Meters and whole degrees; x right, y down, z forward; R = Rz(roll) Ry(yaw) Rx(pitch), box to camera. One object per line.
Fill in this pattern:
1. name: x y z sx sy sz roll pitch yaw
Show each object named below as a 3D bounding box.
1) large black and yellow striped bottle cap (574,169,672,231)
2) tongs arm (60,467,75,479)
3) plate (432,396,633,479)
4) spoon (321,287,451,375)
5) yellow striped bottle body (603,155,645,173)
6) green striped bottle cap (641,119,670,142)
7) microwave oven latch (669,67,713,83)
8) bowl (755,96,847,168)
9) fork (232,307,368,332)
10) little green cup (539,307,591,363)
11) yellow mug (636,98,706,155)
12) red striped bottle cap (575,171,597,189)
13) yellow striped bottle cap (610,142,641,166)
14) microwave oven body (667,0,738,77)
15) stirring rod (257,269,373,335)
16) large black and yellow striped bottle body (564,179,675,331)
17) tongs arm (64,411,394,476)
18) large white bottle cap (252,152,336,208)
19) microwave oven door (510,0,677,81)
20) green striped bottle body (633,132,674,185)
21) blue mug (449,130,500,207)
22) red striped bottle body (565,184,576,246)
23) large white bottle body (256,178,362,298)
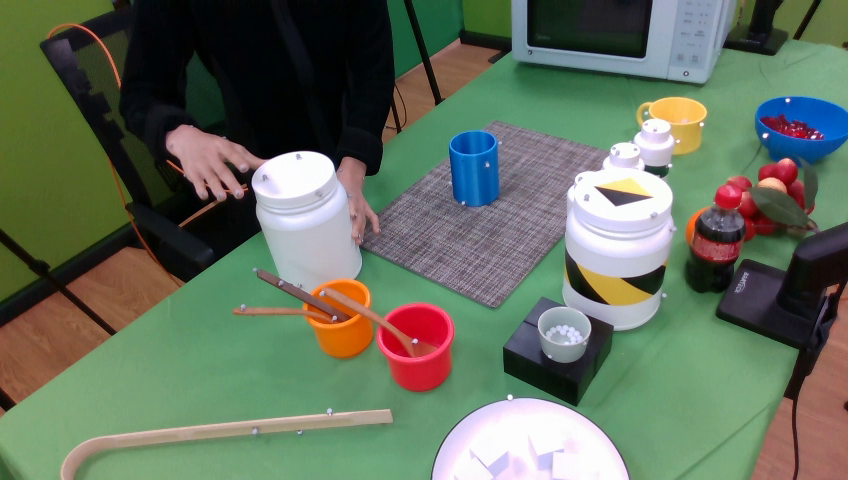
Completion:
1. large black and yellow striped bottle cap: 0.242 -0.051 0.738 0.115 0.019 0.114 -4 37 3
2. tongs arm: -0.239 0.301 0.648 0.386 0.028 0.028 6 49 16
3. plate: 0.112 0.261 0.634 0.209 0.038 0.208 -5 40 4
4. spoon: -0.046 0.111 0.757 0.194 0.021 0.041 38 47 -15
5. yellow striped bottle body: 0.314 -0.091 0.957 0.063 0.121 0.062 -4 40 4
6. green striped bottle cap: 0.371 -0.175 0.968 0.044 0.020 0.044 -5 42 5
7. microwave oven latch: 0.556 -0.348 1.262 0.078 0.029 0.030 15 46 26
8. bowl: 0.645 -0.177 1.041 0.151 0.077 0.150 -5 40 4
9. fork: -0.152 0.101 0.781 0.209 0.018 0.028 18 19 -45
10. little green cup: 0.167 0.114 0.721 0.061 0.039 0.061 -4 43 4
11. yellow mug: 0.453 -0.217 1.128 0.100 0.064 0.129 -34 46 -27
12. red striped bottle cap: 0.242 -0.081 0.876 0.044 0.018 0.044 -5 44 5
13. yellow striped bottle cap: 0.308 -0.131 0.925 0.044 0.019 0.044 -4 45 4
14. microwave oven body: 0.462 -0.552 1.369 0.439 0.261 0.326 15 45 26
15. stirring rod: -0.143 0.084 0.808 0.177 0.006 0.014 31 43 -19
16. large black and yellow striped bottle body: 0.253 0.014 0.793 0.131 0.185 0.130 -5 40 4
17. tongs arm: -0.228 0.241 0.715 0.385 0.026 0.050 -5 43 4
18. large white bottle cap: -0.180 -0.086 0.841 0.115 0.018 0.114 -3 41 3
19. microwave oven door: 0.353 -0.478 1.290 0.353 0.245 0.039 15 45 25
20. green striped bottle body: 0.376 -0.135 1.001 0.063 0.120 0.063 -5 40 5
21. blue mug: 0.089 -0.132 1.049 0.082 0.106 0.116 0 40 9
22. red striped bottle body: 0.247 -0.041 0.910 0.063 0.120 0.062 -3 39 3
23. large white bottle body: -0.171 -0.018 0.898 0.130 0.185 0.130 -4 40 4
